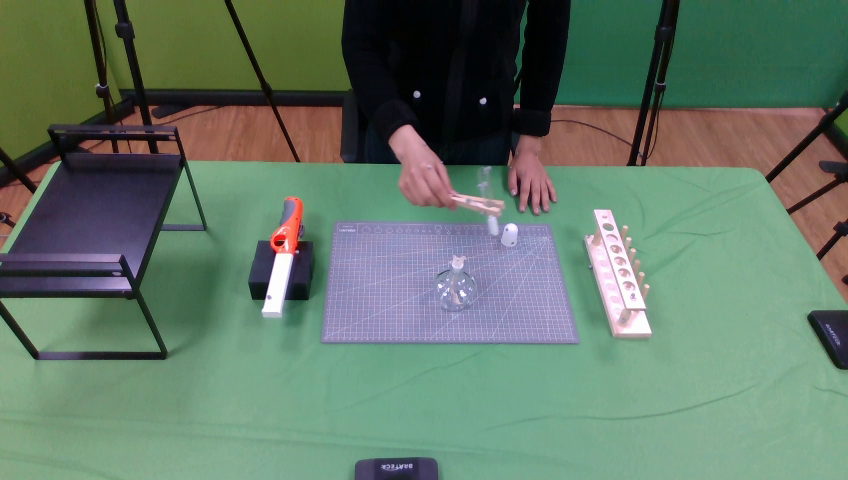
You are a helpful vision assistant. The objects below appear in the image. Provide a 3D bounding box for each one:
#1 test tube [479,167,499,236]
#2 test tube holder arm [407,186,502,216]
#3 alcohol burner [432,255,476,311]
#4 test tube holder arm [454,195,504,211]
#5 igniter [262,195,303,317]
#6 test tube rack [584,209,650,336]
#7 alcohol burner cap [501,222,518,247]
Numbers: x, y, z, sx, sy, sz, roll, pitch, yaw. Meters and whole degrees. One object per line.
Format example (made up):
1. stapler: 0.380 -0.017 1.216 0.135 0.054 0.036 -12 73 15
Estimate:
1. test tube: 0.104 -0.058 0.962 0.017 0.151 0.017 -7 49 9
2. test tube holder arm: 0.046 -0.066 0.997 0.178 0.015 0.013 15 48 29
3. alcohol burner: 0.055 0.070 1.068 0.078 0.119 0.077 3 45 -3
4. test tube holder arm: 0.088 -0.061 0.980 0.087 0.015 0.010 10 46 25
5. igniter: -0.253 0.020 1.090 0.057 0.025 0.275 0 49 -1
6. test tube rack: 0.365 0.055 1.129 0.067 0.085 0.240 0 46 -3
7. alcohol burner cap: 0.172 -0.013 1.207 0.034 0.048 0.033 1 45 -1
